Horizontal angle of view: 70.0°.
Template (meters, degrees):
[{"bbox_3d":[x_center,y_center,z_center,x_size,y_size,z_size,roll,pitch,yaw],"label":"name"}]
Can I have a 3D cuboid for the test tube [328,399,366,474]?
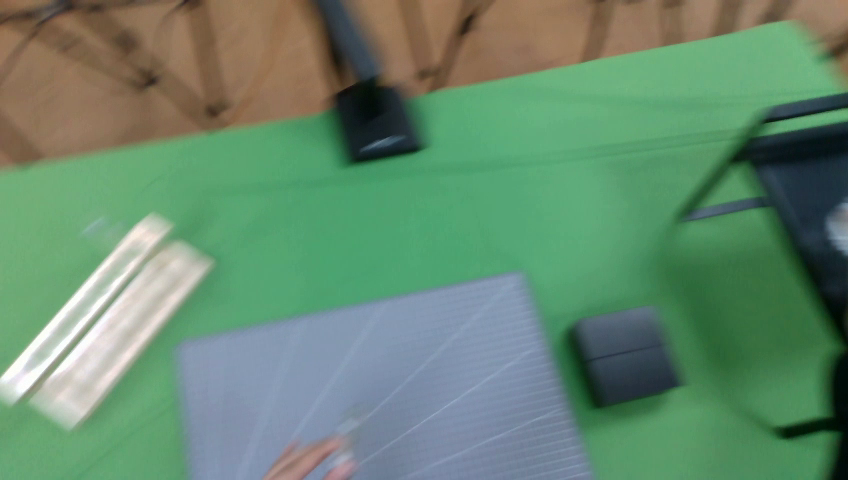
[{"bbox_3d":[-0.066,0.166,0.499,0.017,0.151,0.017,8,53,-10],"label":"test tube"}]

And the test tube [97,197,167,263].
[{"bbox_3d":[-0.333,-0.008,0.701,0.017,0.151,0.017,-1,65,2],"label":"test tube"}]

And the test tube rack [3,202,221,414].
[{"bbox_3d":[-0.357,0.079,0.717,0.066,0.086,0.241,31,69,11],"label":"test tube rack"}]
